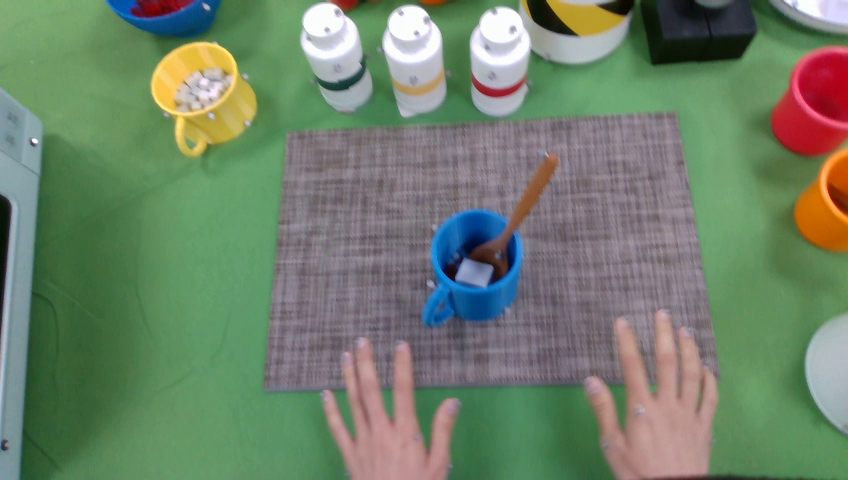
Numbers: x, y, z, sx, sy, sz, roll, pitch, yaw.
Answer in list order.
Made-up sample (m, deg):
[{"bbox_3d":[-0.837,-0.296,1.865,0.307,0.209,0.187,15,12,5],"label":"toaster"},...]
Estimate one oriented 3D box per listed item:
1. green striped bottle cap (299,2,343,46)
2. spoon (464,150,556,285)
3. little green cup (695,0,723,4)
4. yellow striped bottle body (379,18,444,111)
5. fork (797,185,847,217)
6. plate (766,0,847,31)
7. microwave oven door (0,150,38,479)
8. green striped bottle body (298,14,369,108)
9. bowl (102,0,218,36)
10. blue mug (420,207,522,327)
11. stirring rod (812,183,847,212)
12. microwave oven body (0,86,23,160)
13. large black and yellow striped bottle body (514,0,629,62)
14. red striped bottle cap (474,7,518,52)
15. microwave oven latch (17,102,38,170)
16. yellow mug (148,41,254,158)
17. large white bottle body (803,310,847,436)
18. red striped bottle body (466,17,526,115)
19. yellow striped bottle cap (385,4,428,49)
[{"bbox_3d":[-0.108,-0.226,0.633,0.044,0.020,0.044,-1,69,3],"label":"green striped bottle cap"},{"bbox_3d":[0.076,-0.013,0.537,0.041,0.195,0.021,31,58,5],"label":"spoon"},{"bbox_3d":[0.317,-0.292,0.664,0.061,0.039,0.061,-1,67,2],"label":"little green cup"},{"bbox_3d":[-0.013,-0.202,0.671,0.063,0.121,0.062,-2,69,6],"label":"yellow striped bottle body"},{"bbox_3d":[0.439,-0.019,0.547,0.028,0.019,0.205,-39,27,-9],"label":"fork"},{"bbox_3d":[0.485,-0.330,0.717,0.209,0.038,0.207,-2,70,5],"label":"plate"},{"bbox_3d":[-0.447,0.047,0.535,0.039,0.245,0.353,-11,69,2],"label":"microwave oven door"},{"bbox_3d":[-0.102,-0.207,0.682,0.063,0.120,0.063,-2,69,5],"label":"green striped bottle body"},{"bbox_3d":[-0.318,-0.313,0.763,0.151,0.077,0.150,-1,70,4],"label":"bowl"},{"bbox_3d":[0.039,0.038,0.583,0.082,0.106,0.116,41,78,18],"label":"blue mug"},{"bbox_3d":[0.409,-0.020,0.558,0.014,0.006,0.175,1,27,3],"label":"stirring rod"},{"bbox_3d":[-0.597,0.037,0.558,0.326,0.262,0.438,-11,70,1],"label":"microwave oven body"},{"bbox_3d":[0.166,-0.300,0.657,0.130,0.185,0.130,-2,69,5],"label":"large black and yellow striped bottle body"},{"bbox_3d":[0.073,-0.214,0.612,0.044,0.018,0.044,0,68,1],"label":"red striped bottle cap"},{"bbox_3d":[-0.472,-0.119,0.707,0.030,0.030,0.078,-9,70,1],"label":"microwave oven latch"},{"bbox_3d":[-0.263,-0.158,0.707,0.100,0.064,0.130,8,71,7],"label":"yellow mug"},{"bbox_3d":[0.414,0.099,0.487,0.130,0.186,0.129,-2,69,5],"label":"large white bottle body"},{"bbox_3d":[0.079,-0.194,0.661,0.063,0.120,0.062,-3,68,7],"label":"red striped bottle body"},{"bbox_3d":[-0.018,-0.220,0.623,0.044,0.019,0.044,-1,71,4],"label":"yellow striped bottle cap"}]
